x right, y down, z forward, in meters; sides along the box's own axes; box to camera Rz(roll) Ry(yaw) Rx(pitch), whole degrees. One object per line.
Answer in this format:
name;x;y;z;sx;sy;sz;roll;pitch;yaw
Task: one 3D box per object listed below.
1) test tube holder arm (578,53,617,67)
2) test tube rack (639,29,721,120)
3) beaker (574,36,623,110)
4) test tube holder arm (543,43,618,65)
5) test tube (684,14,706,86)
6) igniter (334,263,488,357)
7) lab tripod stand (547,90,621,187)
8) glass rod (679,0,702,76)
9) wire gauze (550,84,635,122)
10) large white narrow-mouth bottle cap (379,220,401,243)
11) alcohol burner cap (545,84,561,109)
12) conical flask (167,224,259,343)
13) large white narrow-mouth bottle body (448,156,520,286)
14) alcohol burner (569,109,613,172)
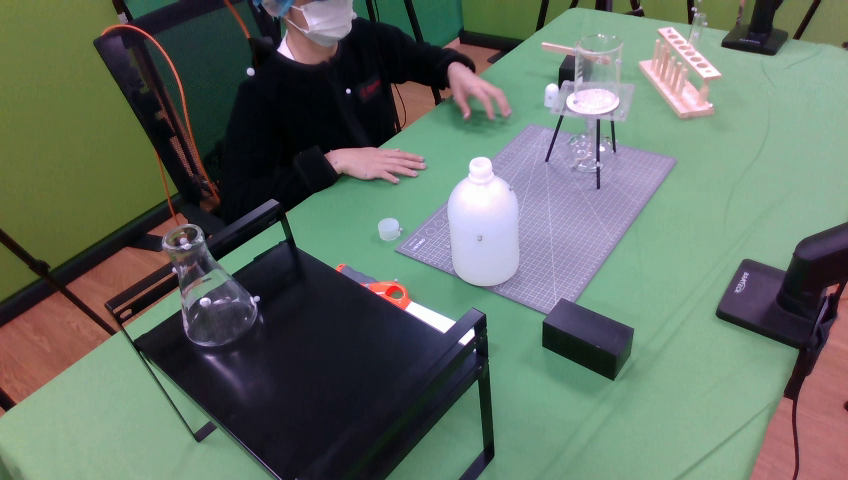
test tube holder arm;0.376;-0.393;1.314;0.087;0.015;0.010;26;51;32
test tube rack;0.527;-0.351;1.262;0.067;0.085;0.241;-8;40;1
beaker;0.285;-0.273;0.990;0.073;0.101;0.084;15;46;27
test tube holder arm;0.345;-0.413;1.341;0.177;0.015;0.013;25;50;32
test tube;0.540;-0.378;1.215;0.017;0.151;0.017;-2;44;3
igniter;-0.030;0.095;0.872;0.274;0.025;0.057;23;60;31
lab tripod stand;0.289;-0.184;1.062;0.148;0.132;0.147;-6;41;6
glass rod;0.543;-0.417;1.233;0.008;0.200;0.008;1;39;0
wire gauze;0.285;-0.234;1.021;0.124;0.011;0.121;8;41;24
large white narrow-mouth bottle cap;-0.057;-0.015;1.011;0.038;0.024;0.037;-4;40;4
alcohol burner cap;0.274;-0.308;1.285;0.034;0.048;0.033;-5;42;5
conical flask;-0.220;0.041;0.613;0.075;0.122;0.075;-5;40;4
large white narrow-mouth bottle body;0.086;-0.032;0.869;0.102;0.195;0.101;-4;40;4
alcohol burner;0.298;-0.181;1.073;0.078;0.119;0.077;-5;43;5
